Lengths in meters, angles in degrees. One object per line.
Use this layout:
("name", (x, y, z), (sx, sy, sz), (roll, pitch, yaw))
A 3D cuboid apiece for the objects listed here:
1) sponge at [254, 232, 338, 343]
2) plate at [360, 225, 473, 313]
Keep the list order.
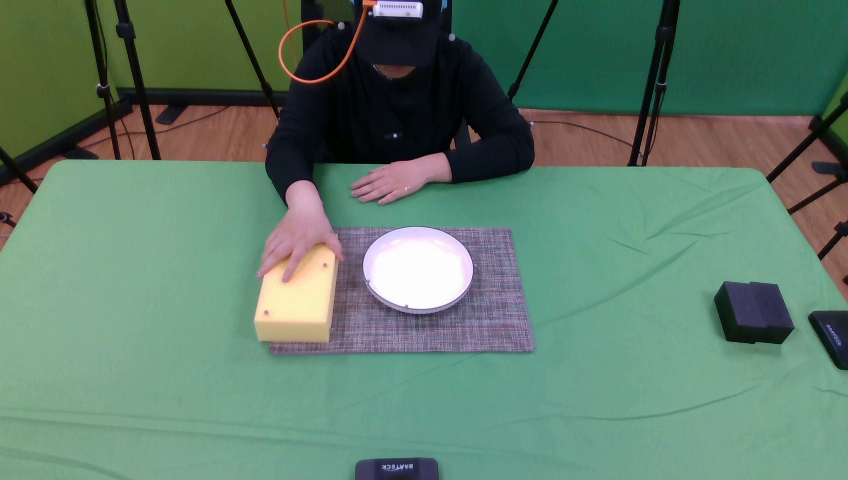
("sponge", (-0.221, 0.080, 1.074), (0.118, 0.061, 0.205), (1, 46, -3))
("plate", (-0.014, 0.057, 1.127), (0.208, 0.039, 0.206), (2, 46, -2))
